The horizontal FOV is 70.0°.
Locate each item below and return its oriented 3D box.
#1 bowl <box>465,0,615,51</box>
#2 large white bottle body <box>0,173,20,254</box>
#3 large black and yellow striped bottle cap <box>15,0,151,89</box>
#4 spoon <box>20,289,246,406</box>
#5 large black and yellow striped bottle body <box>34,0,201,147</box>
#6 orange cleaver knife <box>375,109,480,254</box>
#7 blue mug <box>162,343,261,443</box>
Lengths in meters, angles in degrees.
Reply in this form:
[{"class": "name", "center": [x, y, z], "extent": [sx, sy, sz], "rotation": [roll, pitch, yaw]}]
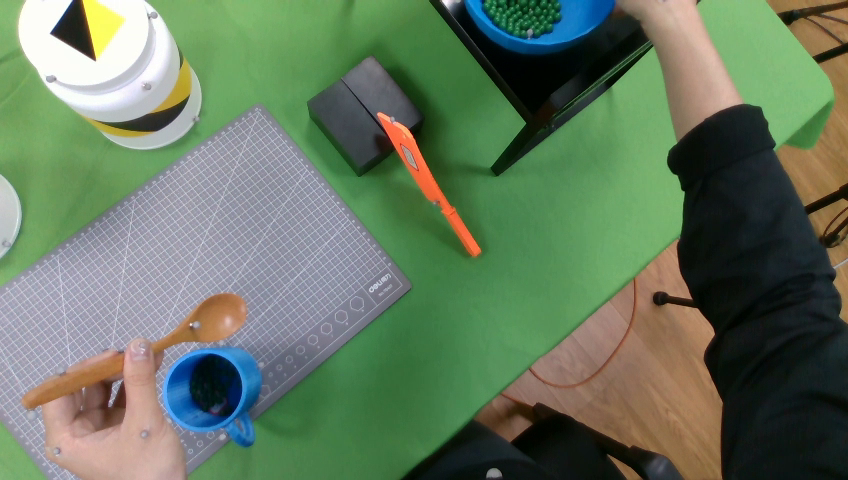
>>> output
[{"class": "bowl", "center": [0.105, -0.242, 0.584], "extent": [0.151, 0.077, 0.151], "rotation": [0, 81, -2]}, {"class": "large white bottle body", "center": [-0.519, -0.040, 0.606], "extent": [0.131, 0.185, 0.130], "rotation": [1, 82, -7]}, {"class": "large black and yellow striped bottle cap", "center": [-0.319, -0.199, 0.568], "extent": [0.115, 0.019, 0.114], "rotation": [1, 83, -9]}, {"class": "spoon", "center": [-0.204, 0.077, 0.455], "extent": [0.021, 0.194, 0.042], "rotation": [6, 103, 21]}, {"class": "large black and yellow striped bottle body", "center": [-0.328, -0.186, 0.651], "extent": [0.131, 0.184, 0.130], "rotation": [1, 82, -7]}, {"class": "orange cleaver knife", "center": [0.005, -0.068, 0.730], "extent": [0.012, 0.076, 0.213], "rotation": [-41, 120, -12]}, {"class": "blue mug", "center": [-0.218, 0.168, 0.658], "extent": [0.082, 0.106, 0.116], "rotation": [-31, 87, -10]}]
